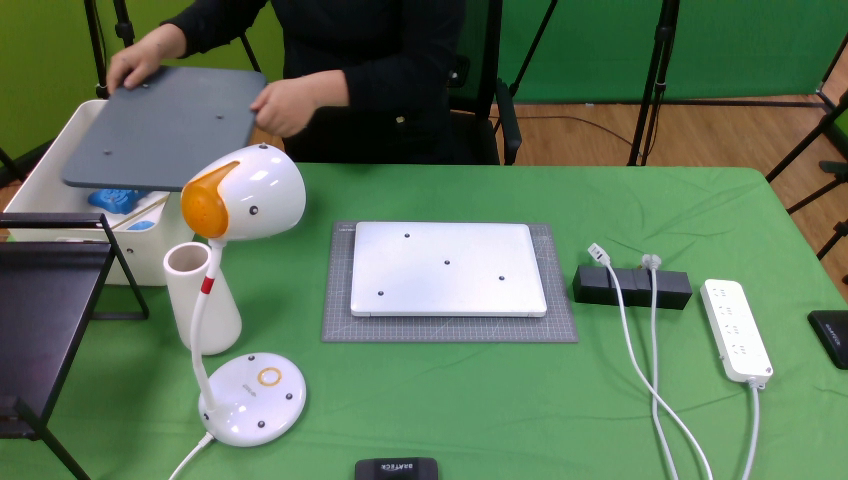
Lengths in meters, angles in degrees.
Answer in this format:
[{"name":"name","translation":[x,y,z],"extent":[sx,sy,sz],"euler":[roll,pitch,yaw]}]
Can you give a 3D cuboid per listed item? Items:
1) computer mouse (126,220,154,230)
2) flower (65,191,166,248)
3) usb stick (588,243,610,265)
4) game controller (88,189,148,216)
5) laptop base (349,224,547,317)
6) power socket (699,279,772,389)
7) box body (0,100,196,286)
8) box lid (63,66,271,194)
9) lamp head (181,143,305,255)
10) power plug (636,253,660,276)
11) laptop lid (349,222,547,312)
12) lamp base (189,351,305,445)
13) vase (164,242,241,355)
[{"name":"computer mouse","translation":[-0.537,0.008,1.127],"extent":[0.062,0.041,0.117],"euler":[32,56,20]},{"name":"flower","translation":[-0.566,-0.059,1.199],"extent":[0.044,0.038,0.361],"euler":[43,52,-2]},{"name":"usb stick","translation":[0.336,0.024,1.172],"extent":[0.027,0.021,0.059],"euler":[32,17,-12]},{"name":"game controller","translation":[-0.598,-0.112,1.235],"extent":[0.097,0.052,0.155],"euler":[28,52,20]},{"name":"laptop base","translation":[0.041,0.055,1.148],"extent":[0.355,0.023,0.234],"euler":[1,42,-4]},{"name":"power socket","translation":[0.551,0.157,1.081],"extent":[0.072,0.033,0.225],"euler":[5,46,1]},{"name":"box body","translation":[-0.560,-0.092,1.144],"extent":[0.254,0.161,0.361],"euler":[3,46,-2]},{"name":"box lid","translation":[-0.421,-0.200,1.041],"extent":[0.263,0.015,0.369],"euler":[2,43,-4]},{"name":"lamp head","translation":[-0.216,-0.044,0.697],"extent":[0.112,0.113,0.123],"euler":[23,31,17]},{"name":"power plug","translation":[0.415,0.050,1.139],"extent":[0.035,0.053,0.072],"euler":[45,49,10]},{"name":"laptop lid","translation":[0.041,0.046,1.143],"extent":[0.357,0.013,0.240],"euler":[2,43,-3]},{"name":"lamp base","translation":[-0.268,0.196,0.876],"extent":[0.160,0.181,0.179],"euler":[26,52,20]},{"name":"vase","translation":[-0.349,0.096,0.954],"extent":[0.098,0.201,0.097],"euler":[3,47,-3]}]
